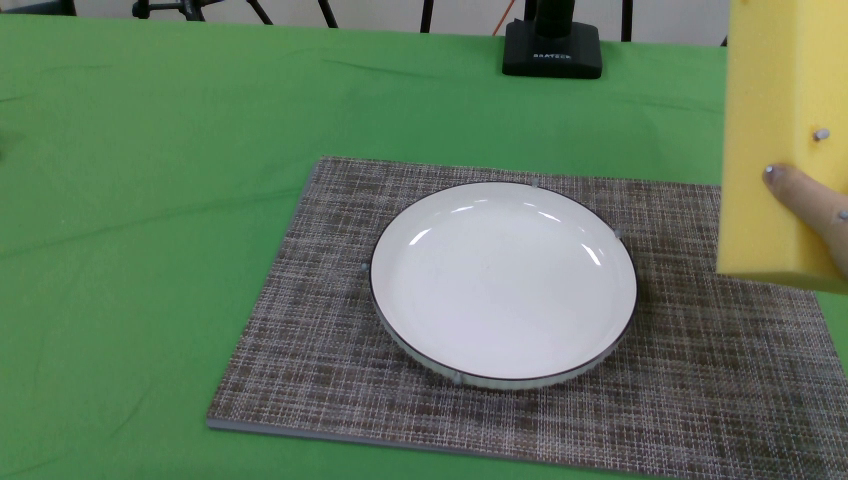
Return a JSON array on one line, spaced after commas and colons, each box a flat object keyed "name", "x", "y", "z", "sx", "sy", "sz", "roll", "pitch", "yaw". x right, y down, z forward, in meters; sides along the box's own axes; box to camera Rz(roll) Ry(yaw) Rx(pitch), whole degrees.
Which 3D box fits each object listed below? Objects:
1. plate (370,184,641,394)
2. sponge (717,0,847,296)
[{"name": "plate", "x": 0.062, "y": 0.035, "z": 0.482, "sx": 0.208, "sy": 0.039, "sz": 0.205, "roll": 0, "pitch": 45, "yaw": 1}, {"name": "sponge", "x": 0.266, "y": -0.071, "z": 0.398, "sx": 0.119, "sy": 0.061, "sz": 0.206, "roll": 7, "pitch": 83, "yaw": -16}]
